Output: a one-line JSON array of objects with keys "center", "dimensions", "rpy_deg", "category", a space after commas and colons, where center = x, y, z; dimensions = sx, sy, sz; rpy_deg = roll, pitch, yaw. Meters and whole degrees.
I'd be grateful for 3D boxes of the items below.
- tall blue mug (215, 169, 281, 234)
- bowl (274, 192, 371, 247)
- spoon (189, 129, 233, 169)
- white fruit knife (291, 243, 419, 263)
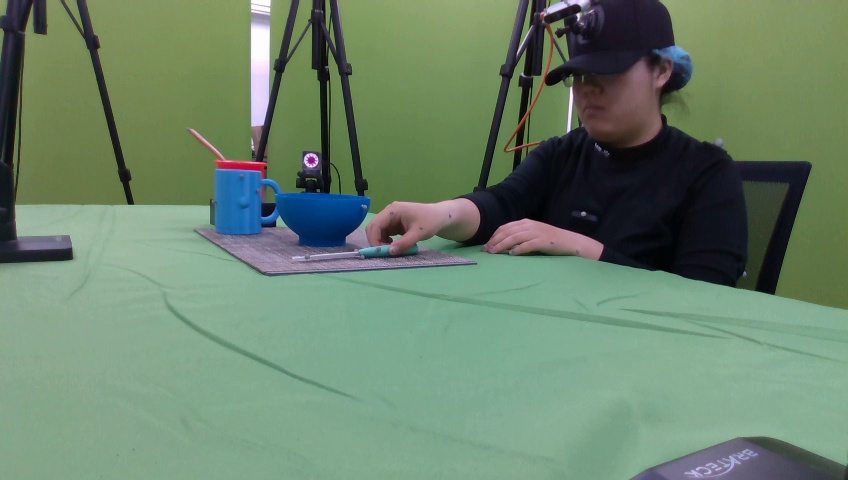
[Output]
[{"center": [-0.313, -0.069, 1.061], "dimensions": [0.077, 0.108, 0.108], "rpy_deg": [6, 8, 31], "category": "tall blue mug"}, {"center": [-0.161, -0.033, 0.958], "dimensions": [0.151, 0.077, 0.151], "rpy_deg": [3, 8, 0], "category": "bowl"}, {"center": [-0.388, -0.150, 1.174], "dimensions": [0.193, 0.021, 0.042], "rpy_deg": [49, 19, 7], "category": "spoon"}, {"center": [-0.087, 0.020, 0.833], "dimensions": [0.208, 0.016, 0.027], "rpy_deg": [-5, -18, -38], "category": "white fruit knife"}]
